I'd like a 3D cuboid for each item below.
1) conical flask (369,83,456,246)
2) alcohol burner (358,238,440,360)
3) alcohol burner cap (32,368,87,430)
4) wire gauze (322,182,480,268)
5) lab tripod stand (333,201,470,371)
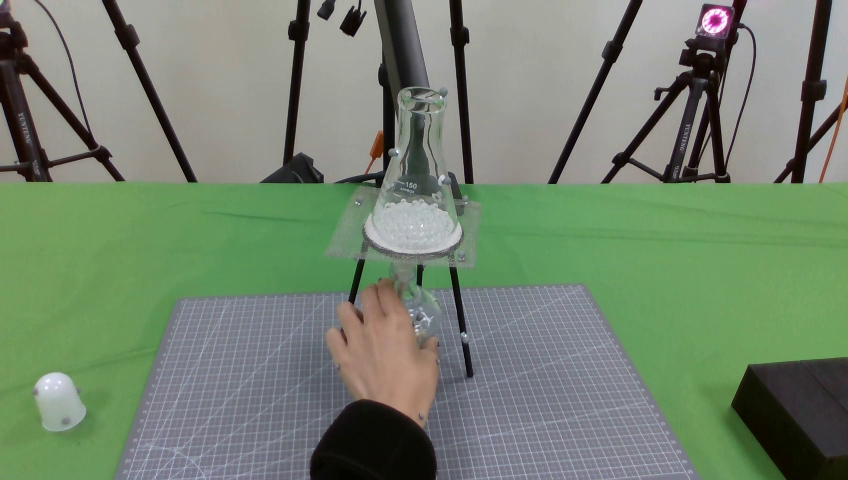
[{"bbox_3d":[-0.007,-0.062,0.493,0.075,0.123,0.074,4,33,-2],"label":"conical flask"},{"bbox_3d":[-0.023,0.052,0.565,0.078,0.120,0.077,2,30,-1],"label":"alcohol burner"},{"bbox_3d":[-0.297,0.126,0.490,0.034,0.048,0.033,2,32,-1],"label":"alcohol burner cap"},{"bbox_3d":[-0.014,-0.014,0.528,0.121,0.011,0.124,7,34,4],"label":"wire gauze"},{"bbox_3d":[-0.011,0.042,0.563,0.148,0.132,0.147,5,32,-3],"label":"lab tripod stand"}]
